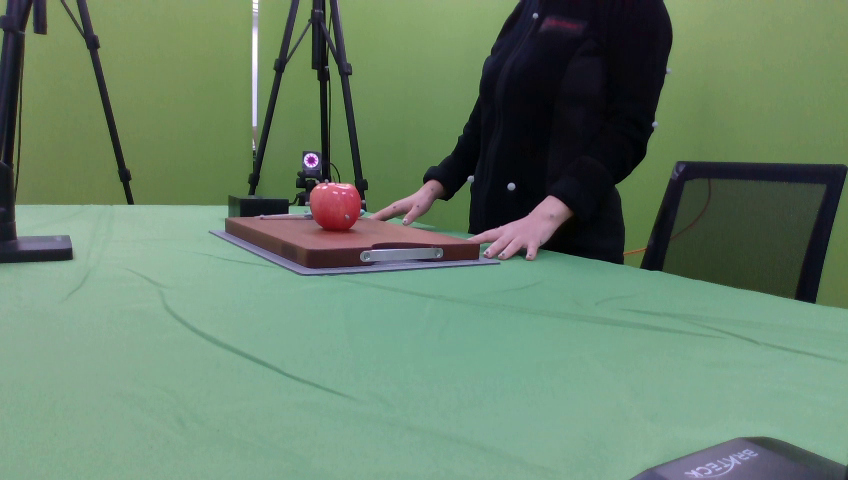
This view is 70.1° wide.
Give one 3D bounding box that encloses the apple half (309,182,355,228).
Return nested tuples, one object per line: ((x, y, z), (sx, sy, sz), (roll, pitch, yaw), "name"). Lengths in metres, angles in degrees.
((-0.152, -0.058, 0.979), (0.082, 0.081, 0.032), (-2, 11, -27), "apple half")

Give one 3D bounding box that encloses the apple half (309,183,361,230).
((-0.135, -0.052, 0.945), (0.081, 0.074, 0.053), (3, 11, -29), "apple half")

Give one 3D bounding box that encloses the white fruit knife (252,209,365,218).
((-0.209, -0.047, 1.106), (0.208, 0.016, 0.027), (-3, -5, -30), "white fruit knife")
